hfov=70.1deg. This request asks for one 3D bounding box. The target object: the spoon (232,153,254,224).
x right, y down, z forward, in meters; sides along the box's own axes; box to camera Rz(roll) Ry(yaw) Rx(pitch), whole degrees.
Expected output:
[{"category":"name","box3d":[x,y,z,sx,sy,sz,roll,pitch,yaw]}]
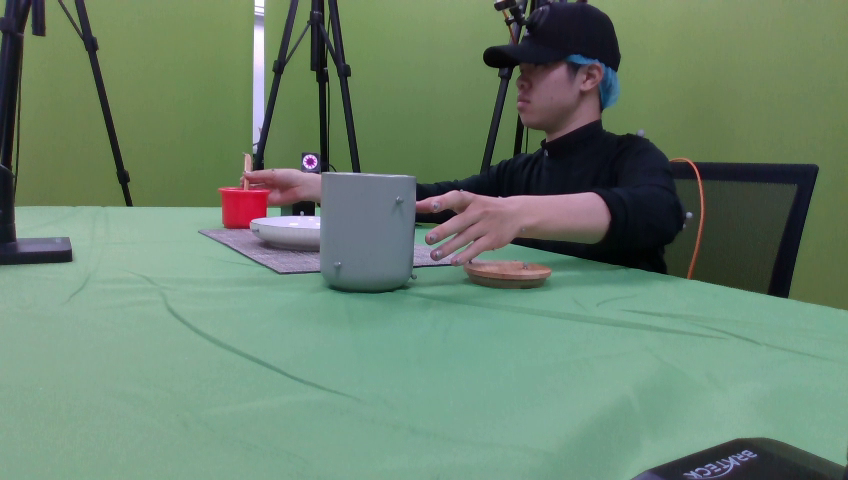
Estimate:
[{"category":"spoon","box3d":[-0.357,-0.106,1.212,0.042,0.193,0.021,11,-37,-22]}]

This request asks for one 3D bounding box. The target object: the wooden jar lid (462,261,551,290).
[{"category":"wooden jar lid","box3d":[0.100,0.043,0.742,0.108,0.020,0.108,2,6,0]}]

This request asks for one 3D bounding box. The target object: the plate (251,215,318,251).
[{"category":"plate","box3d":[-0.170,-0.012,0.971,0.208,0.039,0.207,2,7,0]}]

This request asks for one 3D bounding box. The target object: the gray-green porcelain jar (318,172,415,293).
[{"category":"gray-green porcelain jar","box3d":[-0.065,-0.010,0.671,0.106,0.126,0.106,2,7,0]}]
